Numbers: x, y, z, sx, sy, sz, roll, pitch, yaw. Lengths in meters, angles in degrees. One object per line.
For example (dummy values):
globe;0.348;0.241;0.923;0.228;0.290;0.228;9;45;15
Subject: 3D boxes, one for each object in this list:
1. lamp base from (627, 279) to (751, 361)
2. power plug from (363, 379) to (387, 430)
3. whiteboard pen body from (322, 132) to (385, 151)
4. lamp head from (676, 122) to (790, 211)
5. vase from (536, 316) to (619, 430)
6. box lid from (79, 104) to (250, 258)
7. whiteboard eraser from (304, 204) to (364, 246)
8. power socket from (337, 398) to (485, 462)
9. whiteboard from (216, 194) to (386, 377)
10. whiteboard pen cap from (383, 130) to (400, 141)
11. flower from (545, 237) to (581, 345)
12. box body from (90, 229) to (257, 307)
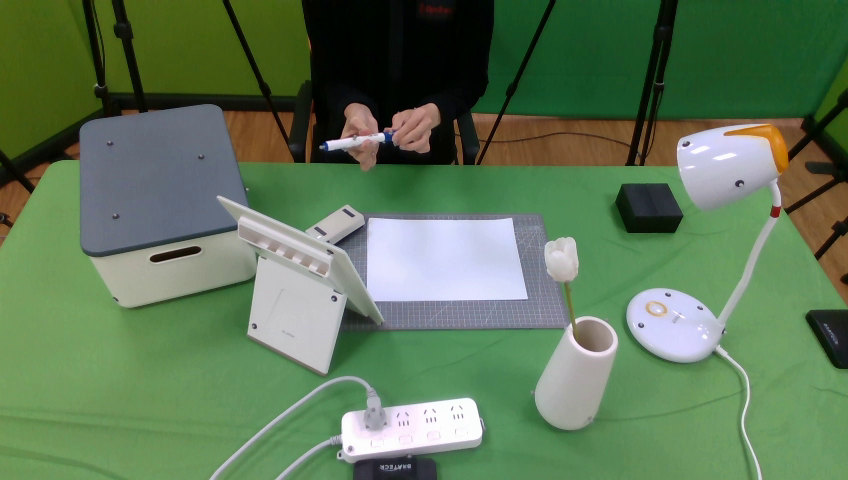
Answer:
lamp base;0.460;0.100;1.027;0.178;0.181;0.160;27;51;17
power plug;-0.071;0.252;0.911;0.035;0.053;0.072;3;40;0
whiteboard pen body;-0.110;-0.172;1.045;0.141;0.017;0.017;-15;49;-29
lamp head;0.423;-0.104;0.819;0.122;0.113;0.112;-13;33;40
vase;0.229;0.200;0.901;0.098;0.201;0.097;3;46;-3
box lid;-0.467;-0.121;1.075;0.264;0.015;0.369;-13;49;-17
whiteboard eraser;-0.175;-0.022;1.188;0.055;0.042;0.112;36;53;26
power socket;-0.018;0.285;0.914;0.227;0.033;0.071;-4;46;-8
whiteboard;-0.212;0.093;0.939;0.216;0.307;0.143;24;70;17
whiteboard pen cap;-0.060;-0.184;1.074;0.033;0.018;0.018;-11;48;-25
flower;0.213;0.137;0.846;0.038;0.364;0.044;21;55;40
box body;-0.471;-0.070;1.131;0.254;0.161;0.361;-14;49;-17
